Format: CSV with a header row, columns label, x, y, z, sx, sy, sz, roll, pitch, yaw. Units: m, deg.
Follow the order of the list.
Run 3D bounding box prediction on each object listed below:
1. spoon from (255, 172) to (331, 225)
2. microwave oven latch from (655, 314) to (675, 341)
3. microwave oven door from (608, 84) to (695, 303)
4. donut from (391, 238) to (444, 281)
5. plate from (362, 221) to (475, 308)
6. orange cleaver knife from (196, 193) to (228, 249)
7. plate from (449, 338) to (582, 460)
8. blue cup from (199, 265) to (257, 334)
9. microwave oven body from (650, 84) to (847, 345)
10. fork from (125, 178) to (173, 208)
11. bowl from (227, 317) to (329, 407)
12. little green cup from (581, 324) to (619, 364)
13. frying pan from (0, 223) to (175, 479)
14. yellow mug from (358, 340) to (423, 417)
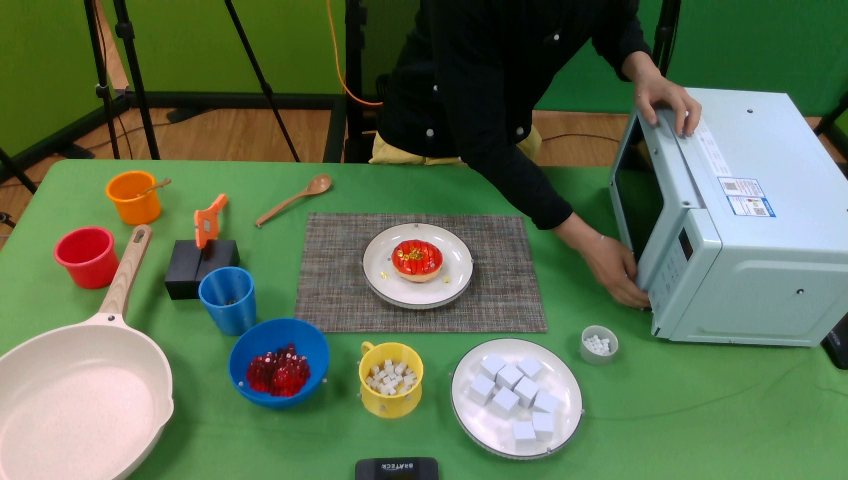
label,x,y,z,sx,sy,sz,roll,pitch,yaw
spoon,-0.272,-0.087,1.257,0.041,0.022,0.193,44,57,14
microwave oven latch,0.419,0.136,1.057,0.030,0.029,0.079,14,47,11
microwave oven door,0.417,-0.096,1.138,0.039,0.245,0.353,4,46,1
donut,-0.011,0.035,1.128,0.099,0.048,0.098,3,43,-2
plate,-0.010,0.049,1.130,0.209,0.038,0.208,2,46,-2
orange cleaver knife,-0.405,-0.041,1.163,0.012,0.077,0.210,-1,17,-4
plate,0.142,0.251,0.956,0.208,0.039,0.206,2,46,-2
blue cup,-0.320,0.106,1.015,0.093,0.101,0.092,2,48,-2
microwave oven body,0.569,-0.054,1.116,0.326,0.261,0.439,2,46,-1
fork,-0.524,-0.090,1.154,0.207,0.019,0.028,-17,28,45
bowl,-0.222,0.203,0.947,0.151,0.077,0.150,2,46,-2
little green cup,0.297,0.180,1.032,0.061,0.039,0.061,2,45,-2
frying pan,-0.504,0.169,0.941,0.307,0.103,0.485,5,54,-1
yellow mug,-0.061,0.209,0.961,0.100,0.064,0.130,-29,54,-27
